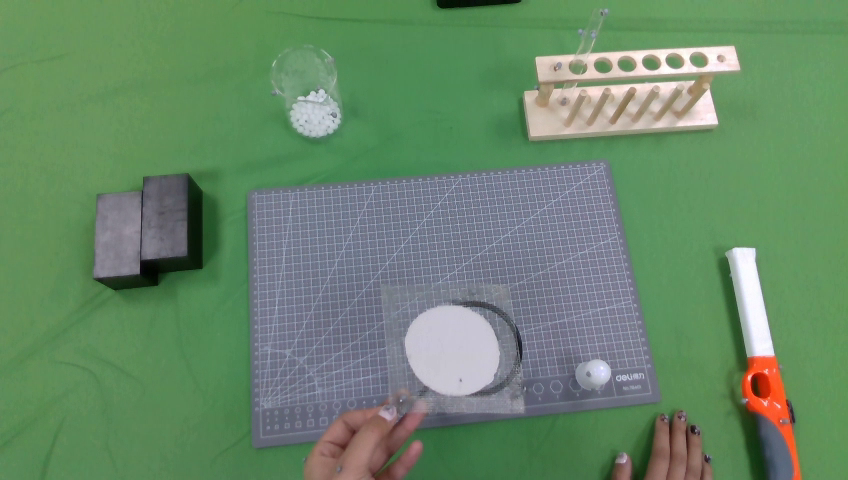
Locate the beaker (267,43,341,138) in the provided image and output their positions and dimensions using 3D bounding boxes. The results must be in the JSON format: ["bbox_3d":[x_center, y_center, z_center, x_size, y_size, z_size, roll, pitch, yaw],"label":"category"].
[{"bbox_3d":[-0.137,-0.172,0.727,0.074,0.101,0.083,-35,77,-11],"label":"beaker"}]

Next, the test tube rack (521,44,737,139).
[{"bbox_3d":[0.250,-0.182,0.750,0.242,0.085,0.066,-4,72,-3],"label":"test tube rack"}]

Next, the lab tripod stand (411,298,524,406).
[{"bbox_3d":[0.042,0.115,0.620,0.148,0.132,0.147,0,71,0],"label":"lab tripod stand"}]

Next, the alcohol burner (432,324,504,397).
[{"bbox_3d":[0.047,0.122,0.629,0.078,0.120,0.077,1,70,-2],"label":"alcohol burner"}]

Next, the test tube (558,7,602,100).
[{"bbox_3d":[0.178,-0.211,0.705,0.017,0.151,0.017,1,68,-1],"label":"test tube"}]

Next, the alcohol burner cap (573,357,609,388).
[{"bbox_3d":[0.186,0.144,0.664,0.034,0.048,0.033,0,71,0],"label":"alcohol burner cap"}]

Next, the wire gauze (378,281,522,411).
[{"bbox_3d":[0.023,0.093,0.544,0.125,0.011,0.120,2,61,-10],"label":"wire gauze"}]

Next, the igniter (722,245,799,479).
[{"bbox_3d":[0.378,0.139,0.683,0.057,0.025,0.275,2,72,-12],"label":"igniter"}]
